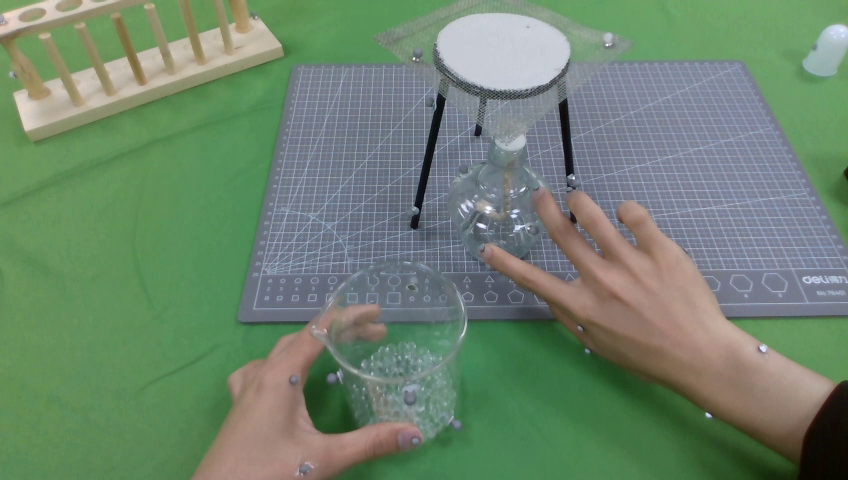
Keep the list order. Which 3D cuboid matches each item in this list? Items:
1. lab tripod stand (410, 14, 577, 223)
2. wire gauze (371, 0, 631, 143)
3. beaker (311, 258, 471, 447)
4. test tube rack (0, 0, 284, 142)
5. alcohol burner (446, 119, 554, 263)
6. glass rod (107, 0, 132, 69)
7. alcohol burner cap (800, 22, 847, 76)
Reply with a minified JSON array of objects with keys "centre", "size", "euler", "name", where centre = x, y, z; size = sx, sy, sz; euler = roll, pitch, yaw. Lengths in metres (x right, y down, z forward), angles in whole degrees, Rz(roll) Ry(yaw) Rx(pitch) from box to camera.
[{"centre":[0.054,-0.083,0.445],"size":[0.148,0.132,0.147],"euler":[1,51,-1],"name":"lab tripod stand"},{"centre":[0.049,-0.123,0.390],"size":[0.121,0.011,0.124],"euler":[-35,59,-26],"name":"wire gauze"},{"centre":[-0.016,0.070,0.349],"size":[0.084,0.101,0.073],"euler":[-5,51,-3],"name":"beaker"},{"centre":[-0.262,-0.184,0.562],"size":[0.242,0.086,0.066],"euler":[-26,55,-19],"name":"test tube rack"},{"centre":[0.054,-0.038,0.422],"size":[0.078,0.120,0.077],"euler":[0,53,0],"name":"alcohol burner"},{"centre":[-0.273,-0.226,0.511],"size":[0.008,0.201,0.008],"euler":[3,51,-4],"name":"glass rod"},{"centre":[0.393,-0.188,0.588],"size":[0.034,0.048,0.033],"euler":[0,51,0],"name":"alcohol burner cap"}]
